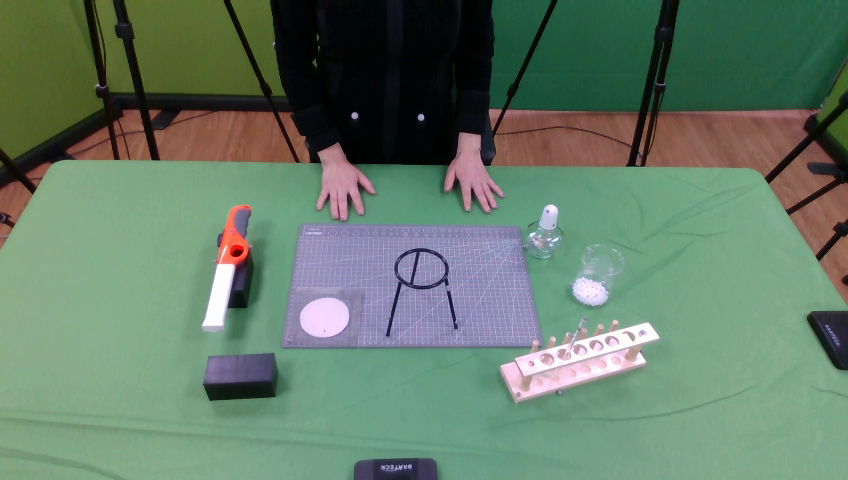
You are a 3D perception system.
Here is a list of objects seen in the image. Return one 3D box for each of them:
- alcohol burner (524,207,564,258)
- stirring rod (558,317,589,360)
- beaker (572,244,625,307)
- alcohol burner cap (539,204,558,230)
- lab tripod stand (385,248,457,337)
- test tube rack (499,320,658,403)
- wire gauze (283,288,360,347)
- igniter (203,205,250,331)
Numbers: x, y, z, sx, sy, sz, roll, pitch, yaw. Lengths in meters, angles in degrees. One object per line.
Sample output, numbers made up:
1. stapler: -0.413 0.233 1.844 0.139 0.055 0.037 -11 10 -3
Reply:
1. alcohol burner: 0.236 -0.021 1.174 0.078 0.120 0.077 1 48 -1
2. stirring rod: 0.221 0.155 0.912 0.014 0.177 0.006 5 58 3
3. beaker: 0.315 0.067 1.105 0.084 0.101 0.073 -9 48 -13
4. alcohol burner cap: 0.238 -0.046 1.148 0.034 0.048 0.033 1 42 -1
5. lab tripod stand: -0.010 0.087 1.032 0.148 0.132 0.147 1 45 -1
6. test tube rack: 0.252 0.187 0.994 0.243 0.085 0.066 -12 48 -15
7. wire gauze: -0.178 0.132 1.063 0.125 0.011 0.120 2 46 1
8. igniter: -0.345 0.038 1.065 0.057 0.025 0.274 2 49 -6
